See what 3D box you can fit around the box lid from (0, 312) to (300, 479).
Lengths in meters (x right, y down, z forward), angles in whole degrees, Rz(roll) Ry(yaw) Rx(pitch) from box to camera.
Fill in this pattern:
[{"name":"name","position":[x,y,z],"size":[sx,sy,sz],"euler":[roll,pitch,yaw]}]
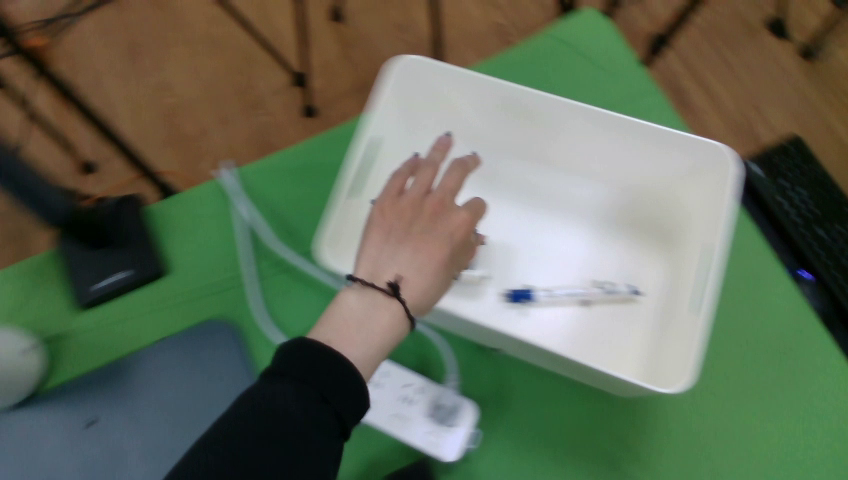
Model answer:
[{"name":"box lid","position":[-0.338,0.260,0.687],"size":[0.372,0.015,0.261],"euler":[-23,71,-4]}]

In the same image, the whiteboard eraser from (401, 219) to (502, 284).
[{"name":"whiteboard eraser","position":[0.033,0.013,0.716],"size":[0.112,0.042,0.055],"euler":[12,74,5]}]

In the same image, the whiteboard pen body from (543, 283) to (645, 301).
[{"name":"whiteboard pen body","position":[0.183,0.061,0.702],"size":[0.141,0.017,0.017],"euler":[-3,71,5]}]

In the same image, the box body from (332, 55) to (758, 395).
[{"name":"box body","position":[0.122,-0.009,0.662],"size":[0.363,0.161,0.253],"euler":[20,74,11]}]

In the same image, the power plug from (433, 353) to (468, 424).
[{"name":"power plug","position":[0.038,0.165,0.655],"size":[0.035,0.053,0.072],"euler":[34,73,16]}]

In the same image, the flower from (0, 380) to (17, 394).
[{"name":"flower","position":[-0.503,0.073,0.576],"size":[0.044,0.365,0.038],"euler":[13,56,15]}]

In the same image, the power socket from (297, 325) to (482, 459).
[{"name":"power socket","position":[-0.040,0.169,0.684],"size":[0.226,0.033,0.072],"euler":[24,74,12]}]

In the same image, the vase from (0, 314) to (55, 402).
[{"name":"vase","position":[-0.495,0.116,0.648],"size":[0.098,0.201,0.097],"euler":[-1,69,4]}]

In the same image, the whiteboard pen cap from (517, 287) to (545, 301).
[{"name":"whiteboard pen cap","position":[0.125,0.062,0.707],"size":[0.033,0.018,0.018],"euler":[-3,71,5]}]
